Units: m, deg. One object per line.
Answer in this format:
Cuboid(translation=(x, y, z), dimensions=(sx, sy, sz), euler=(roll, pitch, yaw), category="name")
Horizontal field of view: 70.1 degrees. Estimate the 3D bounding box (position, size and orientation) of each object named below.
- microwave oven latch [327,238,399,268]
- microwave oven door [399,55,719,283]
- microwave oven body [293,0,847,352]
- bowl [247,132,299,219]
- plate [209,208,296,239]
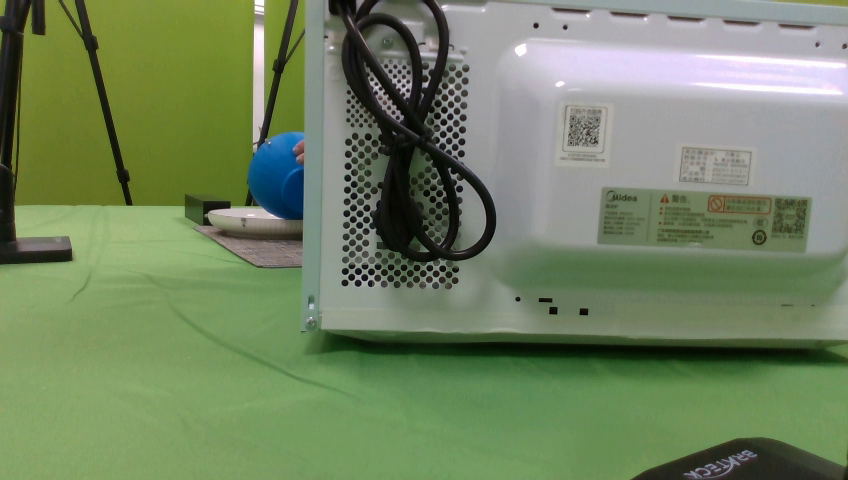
Cuboid(translation=(-0.069, 0.015, 0.694), dimensions=(0.079, 0.029, 0.030), euler=(3, 7, -3), category="microwave oven latch")
Cuboid(translation=(0.155, -0.078, 0.697), dimensions=(0.356, 0.243, 0.039), euler=(2, 8, -5), category="microwave oven door")
Cuboid(translation=(0.122, -0.055, 0.550), dimensions=(0.442, 0.260, 0.325), euler=(3, 7, -5), category="microwave oven body")
Cuboid(translation=(-0.202, -0.091, 0.976), dimensions=(0.152, 0.151, 0.076), euler=(-1, 24, -27), category="bowl")
Cuboid(translation=(-0.271, -0.029, 1.074), dimensions=(0.208, 0.039, 0.207), euler=(2, 7, 0), category="plate")
